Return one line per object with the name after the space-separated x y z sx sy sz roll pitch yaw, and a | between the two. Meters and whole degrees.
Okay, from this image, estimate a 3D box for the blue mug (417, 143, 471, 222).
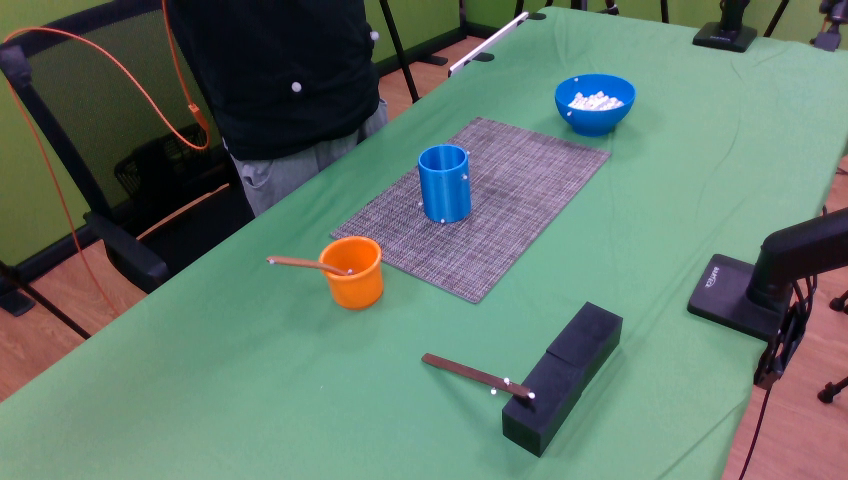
0.031 -0.104 1.014 0.082 0.106 0.115 -14 41 -7 | blue mug

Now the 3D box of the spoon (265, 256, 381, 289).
-0.136 0.041 0.842 0.021 0.195 0.041 -55 47 13 | spoon

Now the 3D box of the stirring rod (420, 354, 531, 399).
0.058 0.164 0.738 0.174 0.006 0.014 8 42 46 | stirring rod

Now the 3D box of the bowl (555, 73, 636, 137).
0.328 -0.253 1.172 0.151 0.077 0.150 -4 41 4 | bowl
